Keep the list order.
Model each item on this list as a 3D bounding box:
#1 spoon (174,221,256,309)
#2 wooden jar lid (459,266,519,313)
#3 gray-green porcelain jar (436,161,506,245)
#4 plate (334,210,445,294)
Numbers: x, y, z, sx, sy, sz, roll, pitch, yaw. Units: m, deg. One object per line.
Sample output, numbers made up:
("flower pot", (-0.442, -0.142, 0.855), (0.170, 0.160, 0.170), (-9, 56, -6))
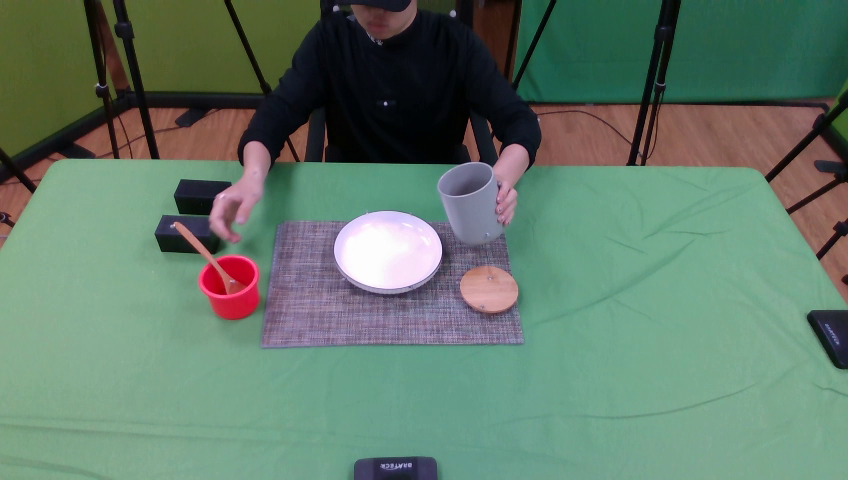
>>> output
("spoon", (-0.360, 0.043, 1.043), (0.194, 0.021, 0.041), (54, 51, -14))
("wooden jar lid", (0.118, 0.093, 1.111), (0.108, 0.021, 0.107), (2, 47, -1))
("gray-green porcelain jar", (0.090, -0.063, 1.106), (0.106, 0.127, 0.105), (-14, 38, 11))
("plate", (-0.066, 0.026, 1.150), (0.208, 0.039, 0.206), (2, 46, -2))
